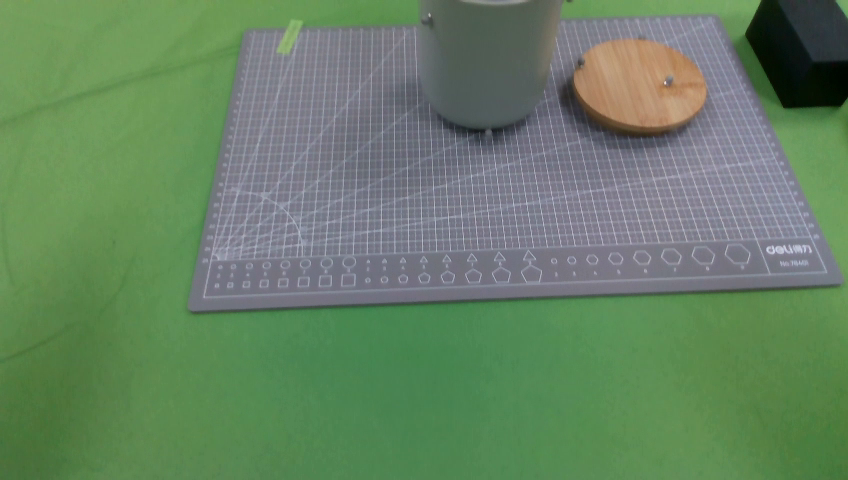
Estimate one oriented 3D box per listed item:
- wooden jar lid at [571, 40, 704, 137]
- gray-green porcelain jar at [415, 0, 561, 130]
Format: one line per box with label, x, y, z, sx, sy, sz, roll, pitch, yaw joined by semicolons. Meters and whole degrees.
wooden jar lid;0.177;-0.126;0.510;0.108;0.021;0.107;-1;55;1
gray-green porcelain jar;0.047;-0.158;0.468;0.106;0.127;0.105;0;56;1
